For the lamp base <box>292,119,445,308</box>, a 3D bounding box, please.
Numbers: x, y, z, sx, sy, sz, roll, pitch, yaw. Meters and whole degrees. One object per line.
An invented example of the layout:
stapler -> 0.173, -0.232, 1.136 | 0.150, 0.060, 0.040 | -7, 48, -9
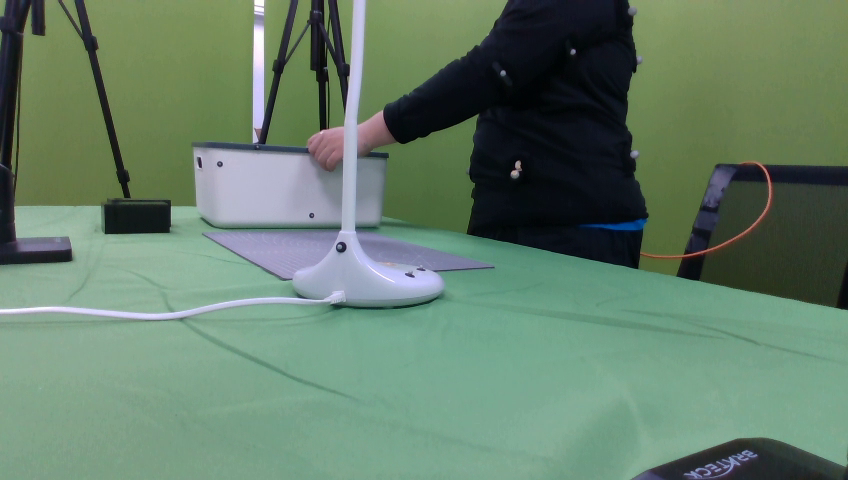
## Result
lamp base -> -0.056, -0.030, 0.616 | 0.160, 0.180, 0.179 | 4, 10, 8

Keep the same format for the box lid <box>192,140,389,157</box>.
box lid -> -0.287, -0.191, 1.281 | 0.373, 0.015, 0.262 | 0, 8, -28

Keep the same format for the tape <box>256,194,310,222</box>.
tape -> -0.301, -0.069, 1.294 | 0.117, 0.052, 0.117 | 2, 7, 0

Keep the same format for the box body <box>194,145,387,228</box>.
box body -> -0.288, -0.118, 1.291 | 0.366, 0.160, 0.253 | -1, 8, -28
